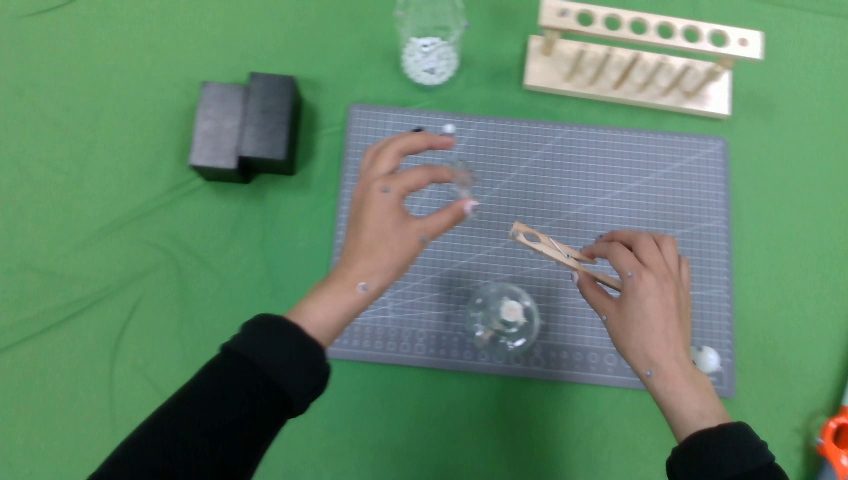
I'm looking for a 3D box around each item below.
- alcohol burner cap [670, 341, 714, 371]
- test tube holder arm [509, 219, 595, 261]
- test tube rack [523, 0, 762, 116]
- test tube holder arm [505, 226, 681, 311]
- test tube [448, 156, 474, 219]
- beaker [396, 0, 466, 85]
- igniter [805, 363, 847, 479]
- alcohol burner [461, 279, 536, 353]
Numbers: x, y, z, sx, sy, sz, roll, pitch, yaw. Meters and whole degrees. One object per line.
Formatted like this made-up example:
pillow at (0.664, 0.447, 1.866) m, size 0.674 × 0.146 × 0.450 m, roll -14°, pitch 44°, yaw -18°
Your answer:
alcohol burner cap at (0.287, 0.122, 0.644) m, size 0.034 × 0.048 × 0.033 m, roll 1°, pitch 76°, yaw -2°
test tube holder arm at (0.124, 0.003, 0.589) m, size 0.087 × 0.015 × 0.010 m, roll 26°, pitch 82°, yaw 5°
test tube rack at (0.244, -0.208, 0.696) m, size 0.242 × 0.085 × 0.066 m, roll 9°, pitch 78°, yaw 1°
test tube holder arm at (0.162, 0.027, 0.583) m, size 0.178 × 0.015 × 0.013 m, roll 26°, pitch 82°, yaw 6°
test tube at (0.033, -0.041, 0.517) m, size 0.017 × 0.151 × 0.017 m, roll -1°, pitch 79°, yaw 6°
beaker at (0.006, -0.226, 0.687) m, size 0.074 × 0.100 × 0.083 m, roll 8°, pitch 78°, yaw 1°
igniter at (0.450, 0.185, 0.644) m, size 0.057 × 0.025 × 0.276 m, roll 28°, pitch 78°, yaw -5°
alcohol burner at (0.078, 0.074, 0.612) m, size 0.078 × 0.119 × 0.077 m, roll 1°, pitch 77°, yaw -2°
